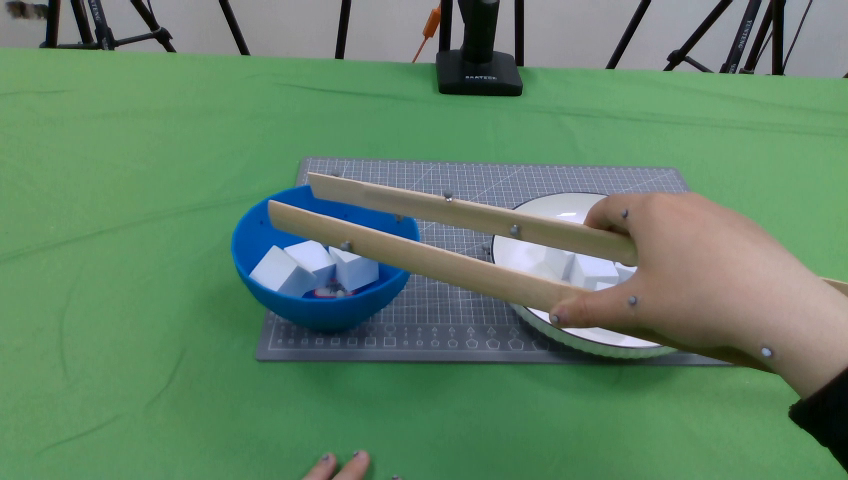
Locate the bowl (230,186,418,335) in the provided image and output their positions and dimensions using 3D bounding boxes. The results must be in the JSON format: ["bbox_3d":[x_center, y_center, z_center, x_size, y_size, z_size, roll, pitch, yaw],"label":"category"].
[{"bbox_3d":[-0.081,0.027,0.513,0.151,0.077,0.150,3,40,-2],"label":"bowl"}]

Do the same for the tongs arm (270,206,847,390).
[{"bbox_3d":[0.066,0.027,0.370,0.385,0.028,0.028,13,37,21],"label":"tongs arm"}]

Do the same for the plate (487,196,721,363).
[{"bbox_3d":[0.160,0.034,0.558,0.208,0.039,0.205,3,40,-2],"label":"plate"}]

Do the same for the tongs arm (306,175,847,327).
[{"bbox_3d":[0.080,0.009,0.390,0.383,0.027,0.050,12,40,19],"label":"tongs arm"}]
